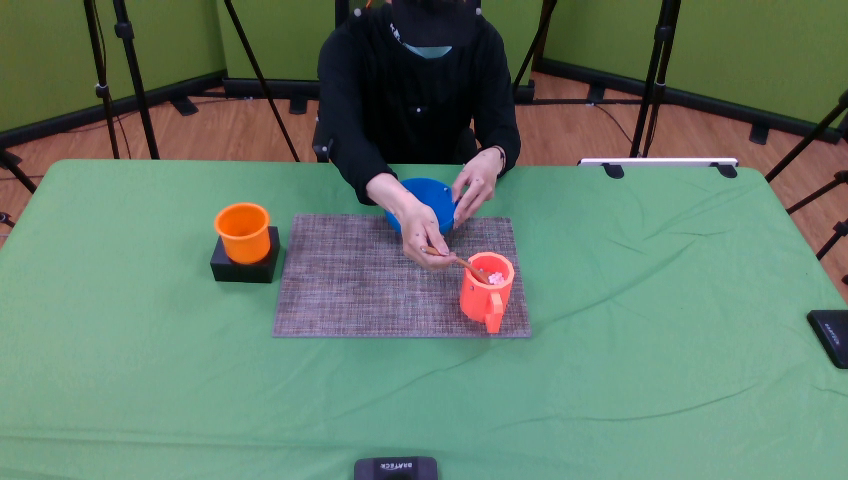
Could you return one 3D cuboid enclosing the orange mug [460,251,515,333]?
[{"bbox_3d":[0.114,0.095,1.053,0.083,0.101,0.125,-5,42,-8],"label":"orange mug"}]

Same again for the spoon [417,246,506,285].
[{"bbox_3d":[0.067,0.042,1.017,0.195,0.021,0.041,26,15,-33],"label":"spoon"}]

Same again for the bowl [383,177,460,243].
[{"bbox_3d":[-0.006,-0.048,1.197,0.151,0.077,0.150,2,46,-2],"label":"bowl"}]
